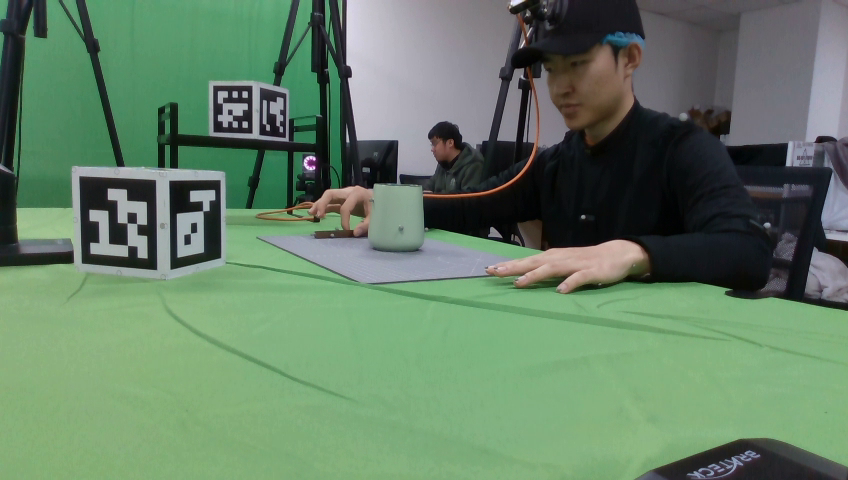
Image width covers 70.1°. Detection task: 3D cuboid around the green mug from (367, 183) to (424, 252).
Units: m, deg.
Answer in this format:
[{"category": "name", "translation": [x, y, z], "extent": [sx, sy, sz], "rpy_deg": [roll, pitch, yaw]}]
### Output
[{"category": "green mug", "translation": [-0.054, -0.039, 0.989], "extent": [0.093, 0.105, 0.124], "rpy_deg": [-1, 8, -29]}]

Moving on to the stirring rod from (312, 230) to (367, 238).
[{"category": "stirring rod", "translation": [-0.131, -0.011, 1.122], "extent": [0.177, 0.014, 0.006], "rpy_deg": [1, 12, -41]}]
